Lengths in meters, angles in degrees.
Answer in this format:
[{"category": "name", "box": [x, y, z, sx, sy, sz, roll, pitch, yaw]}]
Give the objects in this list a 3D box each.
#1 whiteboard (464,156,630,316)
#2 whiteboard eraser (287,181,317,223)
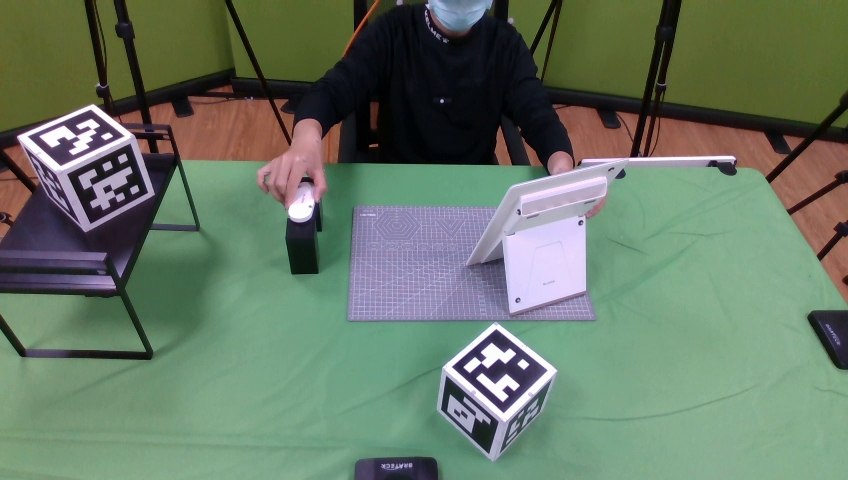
[{"category": "whiteboard", "box": [0.224, 0.014, 1.041, 0.217, 0.306, 0.143, -14, 68, -17]}, {"category": "whiteboard eraser", "box": [-0.223, -0.071, 1.112, 0.041, 0.019, 0.100, 3, 46, 1]}]
